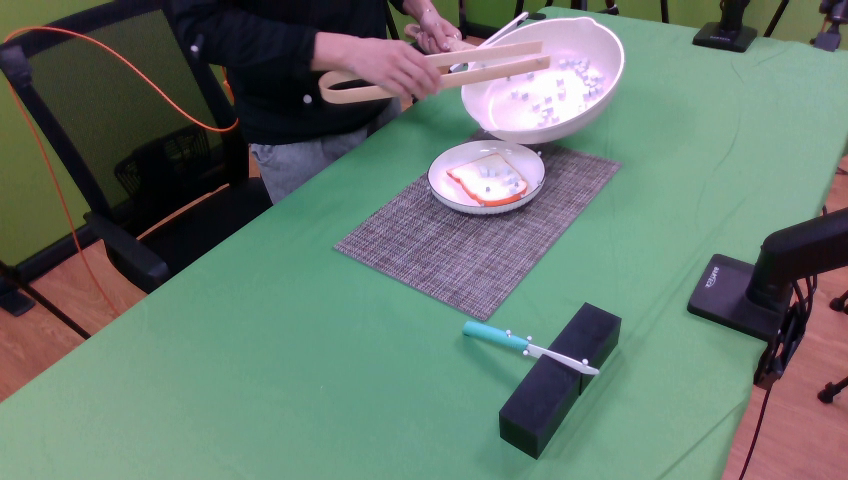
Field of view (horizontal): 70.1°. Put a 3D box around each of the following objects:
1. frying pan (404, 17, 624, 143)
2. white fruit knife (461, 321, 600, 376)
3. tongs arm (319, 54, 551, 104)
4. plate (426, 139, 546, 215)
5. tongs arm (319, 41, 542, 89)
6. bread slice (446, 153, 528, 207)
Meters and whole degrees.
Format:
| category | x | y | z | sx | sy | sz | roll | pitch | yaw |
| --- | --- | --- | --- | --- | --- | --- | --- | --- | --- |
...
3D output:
| category | x | y | z | sx | sy | sz | roll | pitch | yaw |
| --- | --- | --- | --- | --- | --- | --- | --- | --- | --- |
| frying pan | 0.141 | -0.336 | 1.155 | 0.484 | 0.103 | 0.307 | 34 | 72 | 29 |
| white fruit knife | 0.125 | 0.133 | 0.751 | 0.205 | 0.027 | 0.016 | 12 | 43 | 42 |
| tongs arm | 0.022 | -0.273 | 1.003 | 0.386 | 0.026 | 0.050 | -13 | 52 | -8 |
| plate | 0.109 | -0.106 | 1.058 | 0.207 | 0.039 | 0.206 | -4 | 40 | 4 |
| tongs arm | 0.016 | -0.295 | 1.022 | 0.388 | 0.028 | 0.028 | -11 | 55 | -7 |
| bread slice | 0.118 | -0.104 | 1.057 | 0.107 | 0.018 | 0.133 | -24 | 41 | -17 |
